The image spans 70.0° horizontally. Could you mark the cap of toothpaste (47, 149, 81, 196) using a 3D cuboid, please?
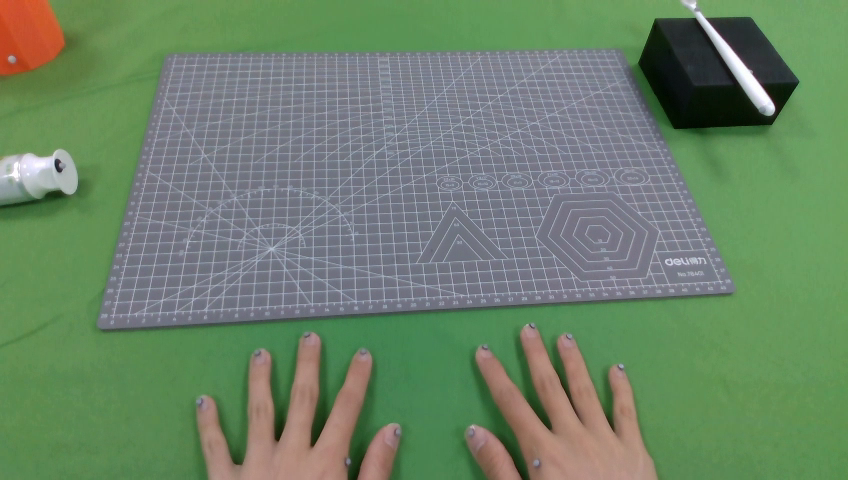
[{"bbox_3d":[-0.274,-0.051,0.459,0.011,0.037,0.037,-9,53,-7],"label":"cap of toothpaste"}]

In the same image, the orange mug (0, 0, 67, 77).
[{"bbox_3d":[-0.393,-0.201,0.527,0.083,0.101,0.126,31,52,19],"label":"orange mug"}]

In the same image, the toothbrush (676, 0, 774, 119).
[{"bbox_3d":[0.270,-0.173,0.548,0.014,0.017,0.180,-2,53,-11],"label":"toothbrush"}]

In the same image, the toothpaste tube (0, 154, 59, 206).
[{"bbox_3d":[-0.352,-0.041,0.453,0.165,0.035,0.054,-9,49,-6],"label":"toothpaste tube"}]
